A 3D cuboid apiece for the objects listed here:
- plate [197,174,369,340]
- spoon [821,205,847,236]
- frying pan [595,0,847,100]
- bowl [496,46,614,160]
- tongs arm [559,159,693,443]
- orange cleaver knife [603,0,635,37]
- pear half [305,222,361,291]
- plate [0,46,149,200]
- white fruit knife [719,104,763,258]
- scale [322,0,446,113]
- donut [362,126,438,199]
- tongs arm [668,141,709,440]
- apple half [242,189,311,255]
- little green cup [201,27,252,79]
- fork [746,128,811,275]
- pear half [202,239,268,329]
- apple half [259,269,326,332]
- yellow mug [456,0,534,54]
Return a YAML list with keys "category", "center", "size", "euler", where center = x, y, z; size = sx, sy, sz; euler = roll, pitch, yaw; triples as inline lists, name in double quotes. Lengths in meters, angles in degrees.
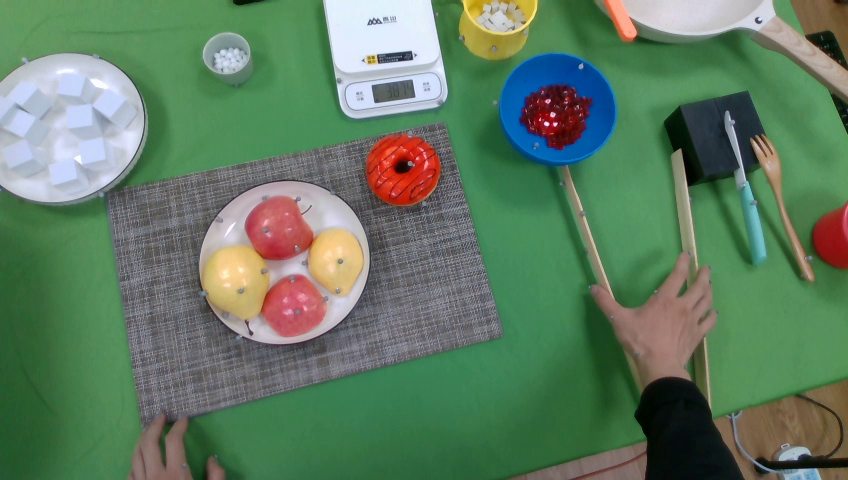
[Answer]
- category: "plate"
  center: [-0.171, 0.021, 0.754]
  size: [0.209, 0.038, 0.208]
  euler: [1, 77, -3]
- category: "spoon"
  center: [0.574, 0.011, 0.749]
  size: [0.041, 0.022, 0.191]
  euler: [-18, 35, -8]
- category: "frying pan"
  center: [0.417, -0.342, 0.836]
  size: [0.306, 0.103, 0.485]
  euler: [-40, 75, -9]
- category: "bowl"
  center: [0.164, -0.167, 0.798]
  size: [0.151, 0.077, 0.150]
  euler: [1, 78, -3]
- category: "tongs arm"
  center: [0.253, 0.070, 0.774]
  size: [0.051, 0.026, 0.383]
  euler: [-13, 80, -10]
- category: "orange cleaver knife"
  center: [0.243, -0.370, 0.812]
  size: [0.077, 0.012, 0.210]
  euler: [-23, 80, -11]
- category: "pear half"
  center: [-0.116, 0.019, 0.751]
  size: [0.070, 0.031, 0.087]
  euler: [-15, 76, 8]
- category: "plate"
  center: [-0.456, -0.148, 0.778]
  size: [0.208, 0.039, 0.206]
  euler: [1, 78, -3]
- category: "white fruit knife"
  center: [0.412, -0.076, 0.791]
  size: [0.016, 0.027, 0.207]
  euler: [-15, 94, -6]
- category: "scale"
  center: [-0.056, -0.279, 0.832]
  size: [0.149, 0.031, 0.200]
  euler: [-9, 79, -5]
- category: "donut"
  center: [-0.032, -0.101, 0.785]
  size: [0.099, 0.048, 0.098]
  euler: [0, 79, 0]
- category: "tongs arm"
  center: [0.338, 0.057, 0.785]
  size: [0.028, 0.028, 0.385]
  euler: [2, 78, -10]
- category: "apple half"
  center: [-0.185, -0.024, 0.745]
  size: [0.075, 0.053, 0.080]
  euler: [-25, 83, -5]
- category: "little green cup"
  center: [-0.261, -0.247, 0.811]
  size: [0.061, 0.039, 0.061]
  euler: [1, 77, -2]
- category: "fork"
  center: [0.469, -0.049, 0.797]
  size: [0.028, 0.018, 0.207]
  euler: [-23, 95, -10]
- category: "pear half"
  center: [-0.221, 0.052, 0.722]
  size: [0.076, 0.056, 0.109]
  euler: [-19, 83, -16]
- category: "apple half"
  center: [-0.164, 0.071, 0.734]
  size: [0.081, 0.033, 0.081]
  euler: [0, 70, -1]
- category: "yellow mug"
  center: [0.085, -0.328, 0.833]
  size: [0.130, 0.064, 0.100]
  euler: [43, 79, 7]
